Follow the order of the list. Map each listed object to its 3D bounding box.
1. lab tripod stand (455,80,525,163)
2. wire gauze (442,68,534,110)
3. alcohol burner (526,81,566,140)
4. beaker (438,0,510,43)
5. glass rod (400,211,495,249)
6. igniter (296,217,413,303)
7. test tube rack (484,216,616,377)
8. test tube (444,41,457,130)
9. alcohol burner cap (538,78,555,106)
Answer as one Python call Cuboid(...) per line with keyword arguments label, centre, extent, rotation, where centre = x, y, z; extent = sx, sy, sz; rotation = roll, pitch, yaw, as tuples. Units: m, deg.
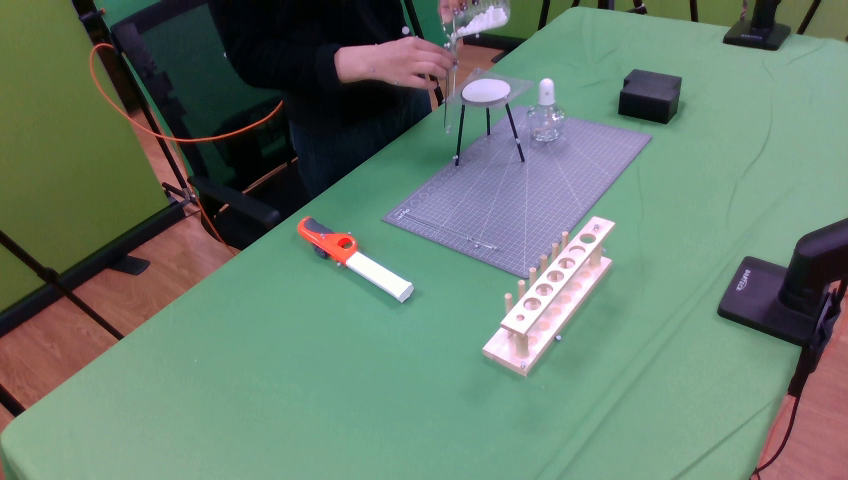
Cuboid(label="lab tripod stand", centre=(0.120, -0.219, 1.126), extent=(0.148, 0.132, 0.147), rotation=(-4, 40, 4))
Cuboid(label="wire gauze", centre=(0.114, -0.269, 1.081), extent=(0.120, 0.011, 0.125), rotation=(21, 48, 29))
Cuboid(label="alcohol burner", centre=(0.234, -0.252, 1.159), extent=(0.078, 0.119, 0.077), rotation=(-4, 42, 4))
Cuboid(label="beaker", centre=(0.082, -0.369, 0.974), extent=(0.100, 0.084, 0.073), rotation=(-16, 33, -9))
Cuboid(label="glass rod", centre=(0.035, -0.018, 1.001), extent=(0.198, 0.008, 0.008), rotation=(21, 49, 35))
Cuboid(label="igniter", centre=(-0.121, 0.025, 0.970), extent=(0.274, 0.025, 0.057), rotation=(29, 63, 37))
Cuboid(label="test tube rack", centre=(0.174, 0.064, 0.823), extent=(0.066, 0.085, 0.243), rotation=(23, 49, 33))
Cuboid(label="test tube", centre=(0.044, -0.260, 1.025), extent=(0.017, 0.150, 0.017), rotation=(2, 31, 0))
Cuboid(label="alcohol burner cap", centre=(0.229, -0.280, 1.136), extent=(0.034, 0.048, 0.033), rotation=(-6, 34, 5))
